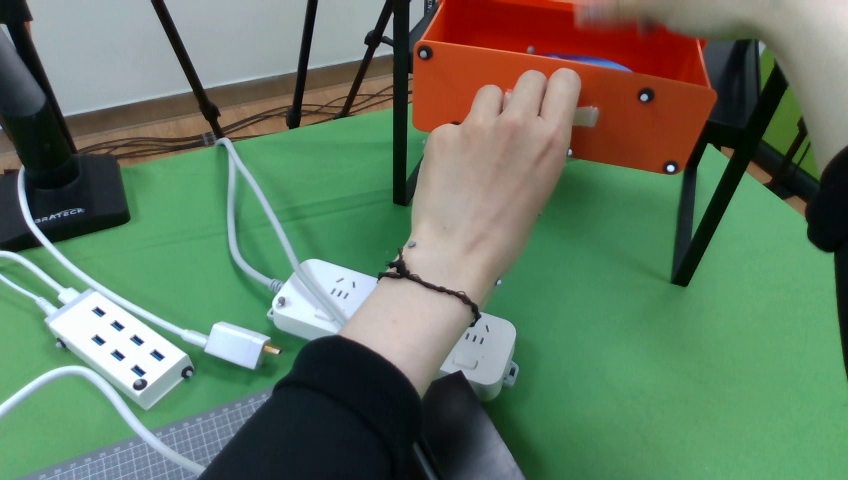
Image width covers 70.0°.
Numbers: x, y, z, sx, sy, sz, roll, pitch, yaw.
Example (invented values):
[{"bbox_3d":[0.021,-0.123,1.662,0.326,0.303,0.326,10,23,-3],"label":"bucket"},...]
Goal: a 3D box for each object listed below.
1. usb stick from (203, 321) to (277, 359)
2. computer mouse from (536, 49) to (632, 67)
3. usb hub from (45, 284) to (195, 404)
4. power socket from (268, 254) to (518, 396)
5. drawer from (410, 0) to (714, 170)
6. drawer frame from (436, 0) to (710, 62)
[{"bbox_3d":[-0.152,0.085,0.507,0.059,0.021,0.027,13,86,-10],"label":"usb stick"},{"bbox_3d":[0.113,-0.116,0.456,0.063,0.041,0.116,-34,52,-29],"label":"computer mouse"},{"bbox_3d":[-0.255,0.084,0.505,0.124,0.025,0.049,27,50,22],"label":"usb hub"},{"bbox_3d":[-0.027,0.071,0.528,0.226,0.033,0.072,17,46,13],"label":"power socket"},{"bbox_3d":[0.107,-0.157,0.476,0.194,0.074,0.210,11,45,7],"label":"drawer"},{"bbox_3d":[0.125,-0.220,0.536,0.201,0.083,0.212,9,45,6],"label":"drawer frame"}]
